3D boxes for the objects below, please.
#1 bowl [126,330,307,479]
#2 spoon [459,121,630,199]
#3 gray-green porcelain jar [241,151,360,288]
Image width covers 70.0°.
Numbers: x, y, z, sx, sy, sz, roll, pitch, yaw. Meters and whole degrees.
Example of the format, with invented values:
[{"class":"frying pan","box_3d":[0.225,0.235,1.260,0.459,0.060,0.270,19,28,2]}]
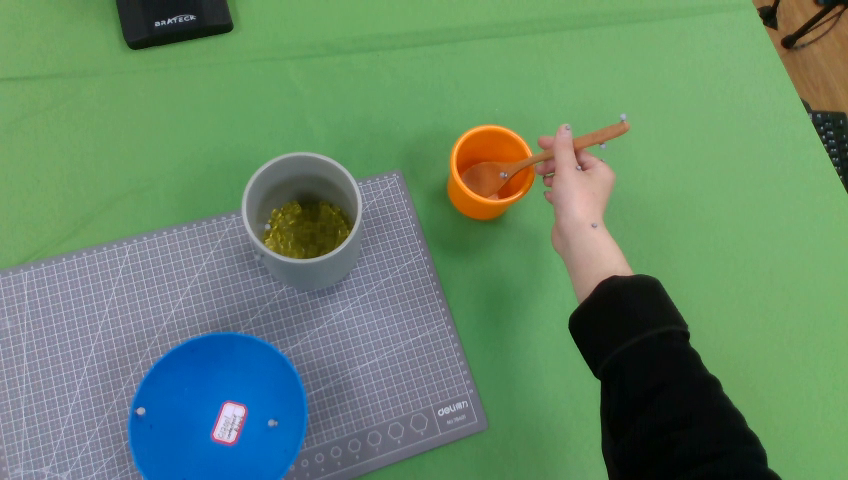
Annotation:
[{"class":"bowl","box_3d":[-0.182,0.163,0.557,0.152,0.077,0.150,2,73,-8]},{"class":"spoon","box_3d":[0.115,-0.082,0.613,0.022,0.193,0.041,5,73,-46]},{"class":"gray-green porcelain jar","box_3d":[-0.116,-0.013,0.592,0.106,0.127,0.105,2,73,-7]}]
